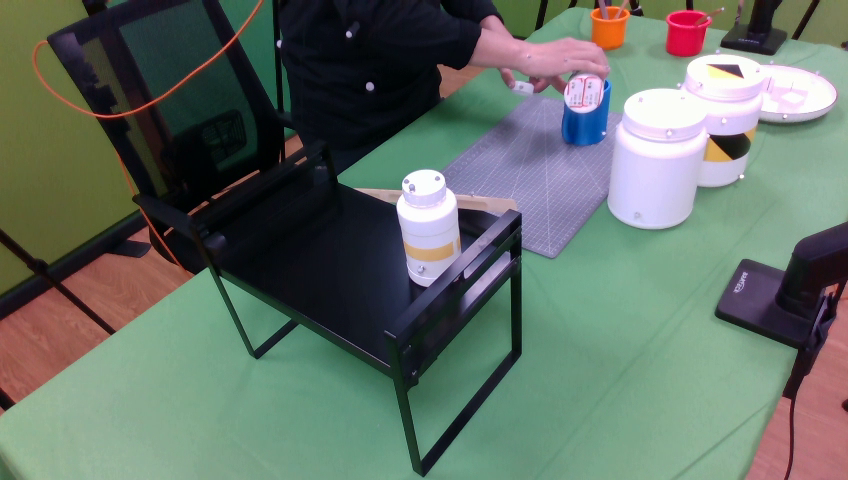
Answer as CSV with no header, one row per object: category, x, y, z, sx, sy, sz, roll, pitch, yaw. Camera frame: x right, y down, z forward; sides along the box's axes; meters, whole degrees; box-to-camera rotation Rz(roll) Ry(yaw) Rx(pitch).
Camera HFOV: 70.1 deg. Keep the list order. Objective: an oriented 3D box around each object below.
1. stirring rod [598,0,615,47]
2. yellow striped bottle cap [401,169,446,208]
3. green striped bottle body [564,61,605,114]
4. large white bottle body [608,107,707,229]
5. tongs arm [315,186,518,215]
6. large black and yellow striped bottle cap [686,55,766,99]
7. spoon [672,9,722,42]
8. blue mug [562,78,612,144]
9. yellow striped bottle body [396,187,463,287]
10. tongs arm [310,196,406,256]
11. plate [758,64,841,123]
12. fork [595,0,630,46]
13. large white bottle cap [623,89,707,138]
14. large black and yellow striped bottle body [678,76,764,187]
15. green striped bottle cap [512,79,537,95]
stirring rod,0.437,-0.551,1.462,0.014,0.006,0.175,-11,83,1
yellow striped bottle cap,0.000,-0.052,0.605,0.044,0.019,0.044,-4,43,4
green striped bottle body,0.278,-0.267,1.040,0.063,0.063,0.119,6,34,15
large white bottle body,0.361,-0.124,0.941,0.130,0.185,0.130,-5,41,4
tongs arm,-0.028,-0.060,0.988,0.382,0.027,0.051,9,45,36
large black and yellow striped bottle cap,0.474,-0.258,0.952,0.115,0.019,0.114,-5,41,5
spoon,0.606,-0.476,1.345,0.042,0.021,0.193,-6,-3,-2
blue mug,0.298,-0.240,1.143,0.081,0.106,0.117,30,53,35
yellow striped bottle body,0.006,-0.013,0.638,0.063,0.121,0.062,-5,41,5
tongs arm,-0.078,-0.012,0.943,0.028,0.028,0.384,-42,39,-23
plate,0.694,-0.283,1.189,0.207,0.039,0.206,-4,40,4
fork,0.480,-0.556,1.453,0.028,0.019,0.207,41,103,40
large white bottle cap,0.352,-0.187,0.886,0.115,0.018,0.114,-4,41,4
large black and yellow striped bottle body,0.482,-0.196,1.008,0.131,0.185,0.130,-4,41,4
green striped bottle cap,0.189,-0.288,1.136,0.044,0.020,0.044,14,10,-2
